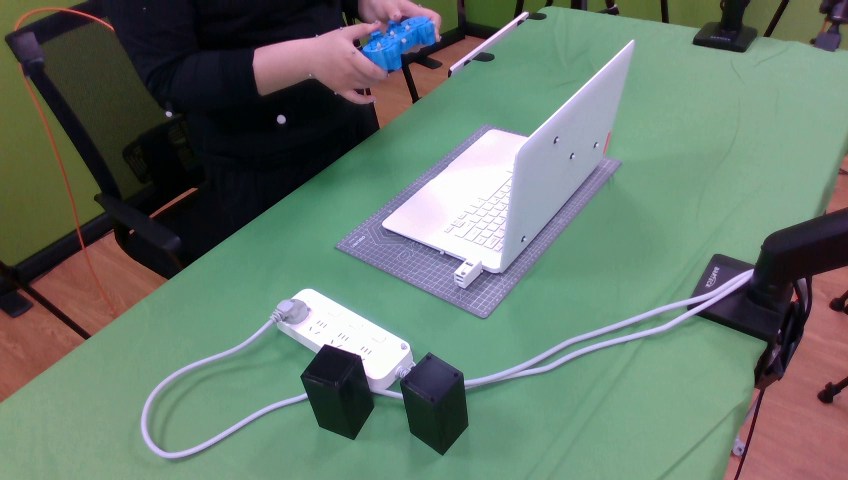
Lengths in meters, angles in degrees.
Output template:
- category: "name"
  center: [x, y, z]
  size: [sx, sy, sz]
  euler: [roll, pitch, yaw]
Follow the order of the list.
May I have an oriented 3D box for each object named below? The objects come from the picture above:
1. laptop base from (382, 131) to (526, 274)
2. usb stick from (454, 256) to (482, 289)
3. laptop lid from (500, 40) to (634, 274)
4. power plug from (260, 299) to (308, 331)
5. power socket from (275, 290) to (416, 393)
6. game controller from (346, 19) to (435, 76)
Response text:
- category: "laptop base"
  center: [0.123, -0.081, 1.049]
  size: [0.233, 0.023, 0.355]
  euler: [20, 47, 33]
- category: "usb stick"
  center: [0.069, 0.044, 0.891]
  size: [0.021, 0.027, 0.059]
  euler: [23, 44, 32]
- category: "laptop lid"
  center: [0.218, -0.128, 0.906]
  size: [0.013, 0.242, 0.358]
  euler: [28, 50, 25]
- category: "power plug"
  center: [-0.193, 0.109, 0.830]
  size: [0.073, 0.053, 0.035]
  euler: [-34, 47, -23]
- category: "power socket"
  center: [-0.114, 0.133, 0.821]
  size: [0.225, 0.033, 0.072]
  euler: [24, 48, 32]
- category: "game controller"
  center: [-0.051, -0.316, 0.977]
  size: [0.096, 0.052, 0.155]
  euler: [16, 47, 35]
